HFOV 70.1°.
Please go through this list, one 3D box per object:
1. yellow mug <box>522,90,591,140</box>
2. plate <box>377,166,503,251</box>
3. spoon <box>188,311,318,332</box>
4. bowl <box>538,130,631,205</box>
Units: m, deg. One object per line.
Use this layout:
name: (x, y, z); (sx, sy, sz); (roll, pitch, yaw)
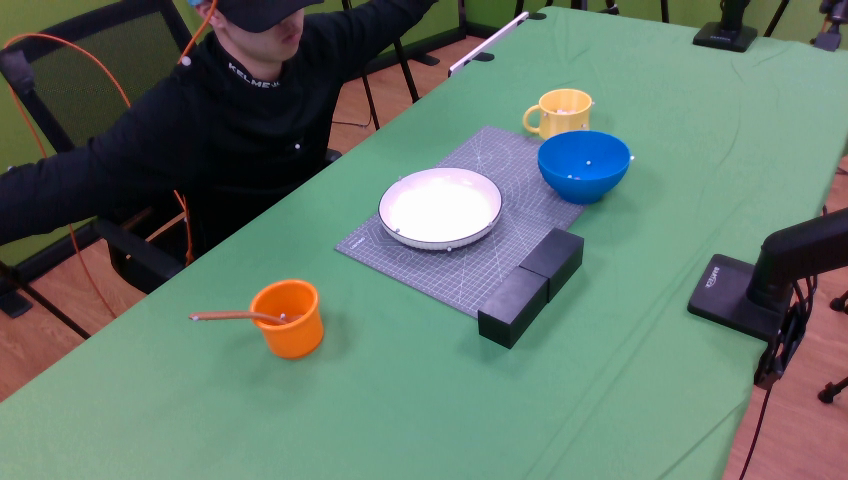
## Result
yellow mug: (0.257, -0.239, 1.177); (0.131, 0.064, 0.099); (-6, 40, 3)
plate: (0.027, -0.050, 1.007); (0.209, 0.038, 0.208); (-4, 41, 4)
spoon: (-0.216, 0.102, 0.784); (0.041, 0.195, 0.021); (27, 95, 39)
bowl: (0.265, -0.113, 1.014); (0.151, 0.077, 0.150); (-4, 40, 4)
